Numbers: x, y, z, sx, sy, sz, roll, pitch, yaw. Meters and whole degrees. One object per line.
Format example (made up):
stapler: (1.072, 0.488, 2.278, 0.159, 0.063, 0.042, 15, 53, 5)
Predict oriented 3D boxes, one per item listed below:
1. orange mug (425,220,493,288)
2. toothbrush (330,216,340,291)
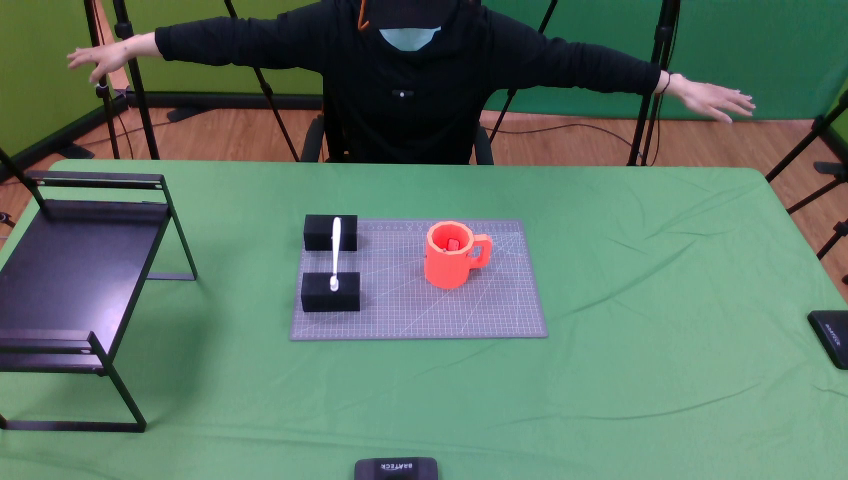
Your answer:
orange mug: (0.064, 0.023, 1.119, 0.126, 0.101, 0.083, -9, 47, -6)
toothbrush: (-0.161, 0.019, 1.094, 0.014, 0.017, 0.180, -11, 45, 6)
